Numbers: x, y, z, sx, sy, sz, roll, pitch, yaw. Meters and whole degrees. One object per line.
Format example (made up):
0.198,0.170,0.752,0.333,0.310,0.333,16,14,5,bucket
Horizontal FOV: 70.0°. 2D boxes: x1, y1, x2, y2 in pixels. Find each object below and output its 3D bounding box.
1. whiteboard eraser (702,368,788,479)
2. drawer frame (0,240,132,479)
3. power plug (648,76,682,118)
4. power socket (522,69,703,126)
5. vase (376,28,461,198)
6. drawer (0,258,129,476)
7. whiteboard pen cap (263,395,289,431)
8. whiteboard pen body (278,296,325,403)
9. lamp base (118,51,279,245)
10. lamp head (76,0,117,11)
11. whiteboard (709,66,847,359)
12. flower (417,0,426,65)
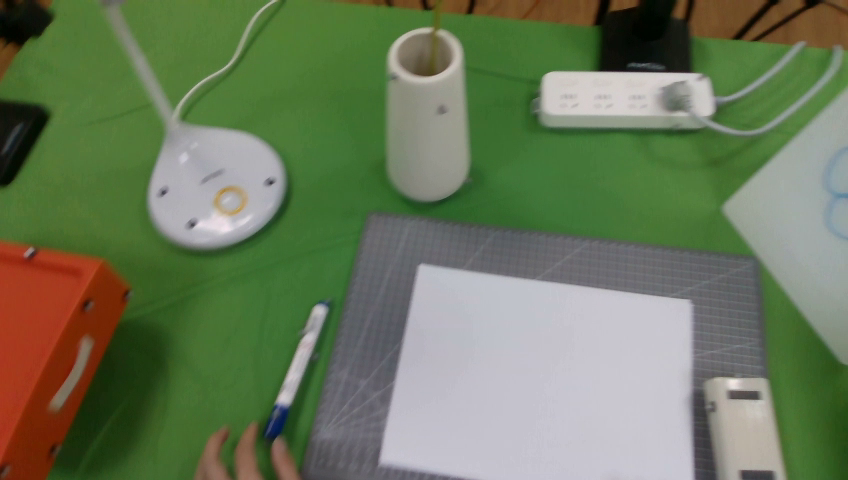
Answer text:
0.301,0.179,0.574,0.055,0.042,0.112,2,63,1,whiteboard eraser
-0.428,0.100,0.570,0.213,0.083,0.200,10,64,4,drawer frame
0.290,-0.167,0.736,0.035,0.053,0.072,10,65,8,power plug
0.241,-0.183,0.772,0.227,0.033,0.071,1,63,2,power socket
-0.008,-0.130,0.659,0.098,0.201,0.097,-1,62,3,vase
-0.422,0.099,0.568,0.211,0.074,0.193,9,64,6,drawer
-0.146,0.171,0.601,0.018,0.018,0.033,12,57,8,whiteboard pen cap
-0.130,0.122,0.630,0.017,0.017,0.140,11,60,8,whiteboard pen body
-0.268,-0.109,0.666,0.178,0.182,0.160,37,69,22,lamp base
-0.230,-0.234,0.403,0.124,0.112,0.112,46,67,-19,lamp head
0.482,-0.061,0.582,0.144,0.307,0.215,-13,60,-26,whiteboard
-0.002,-0.184,0.594,0.038,0.365,0.043,-4,44,-8,flower
